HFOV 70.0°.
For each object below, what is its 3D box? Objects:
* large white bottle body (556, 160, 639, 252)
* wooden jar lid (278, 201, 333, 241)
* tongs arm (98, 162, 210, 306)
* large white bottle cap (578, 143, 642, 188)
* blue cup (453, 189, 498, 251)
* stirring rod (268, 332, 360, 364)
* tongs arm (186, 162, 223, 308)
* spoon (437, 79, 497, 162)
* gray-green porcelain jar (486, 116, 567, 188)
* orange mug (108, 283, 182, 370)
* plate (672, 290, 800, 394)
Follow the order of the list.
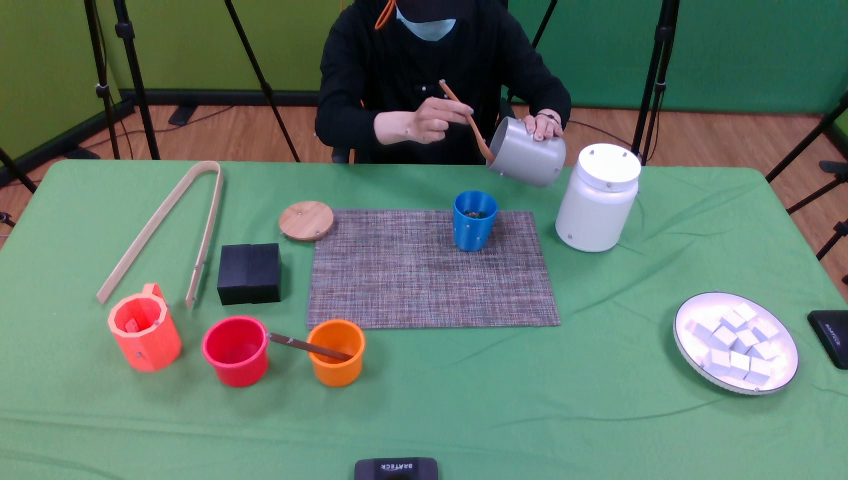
[{"bbox_3d":[0.340,-0.081,1.185,0.131,0.185,0.130,2,46,-1],"label":"large white bottle body"},{"bbox_3d":[-0.236,-0.036,1.213,0.108,0.021,0.107,0,47,0],"label":"wooden jar lid"},{"bbox_3d":[-0.519,-0.026,1.185,0.028,0.028,0.385,4,46,14],"label":"tongs arm"},{"bbox_3d":[0.344,-0.139,1.123,0.115,0.018,0.114,2,46,-2],"label":"large white bottle cap"},{"bbox_3d":[0.093,-0.033,1.173,0.093,0.101,0.092,3,45,-3],"label":"blue cup"},{"bbox_3d":[-0.167,0.169,0.941,0.177,0.006,0.014,26,26,-41],"label":"stirring rod"},{"bbox_3d":[-0.435,-0.025,1.180,0.051,0.027,0.382,-4,46,1],"label":"tongs arm"},{"bbox_3d":[0.083,-0.216,1.112,0.021,0.194,0.041,-37,17,-5],"label":"spoon"},{"bbox_3d":[0.195,-0.162,1.140,0.127,0.106,0.105,19,46,-8],"label":"gray-green porcelain jar"},{"bbox_3d":[-0.445,0.133,0.982,0.083,0.101,0.125,-1,50,-5],"label":"orange mug"},{"bbox_3d":[0.533,0.178,1.050,0.208,0.039,0.206,2,46,-2],"label":"plate"}]
